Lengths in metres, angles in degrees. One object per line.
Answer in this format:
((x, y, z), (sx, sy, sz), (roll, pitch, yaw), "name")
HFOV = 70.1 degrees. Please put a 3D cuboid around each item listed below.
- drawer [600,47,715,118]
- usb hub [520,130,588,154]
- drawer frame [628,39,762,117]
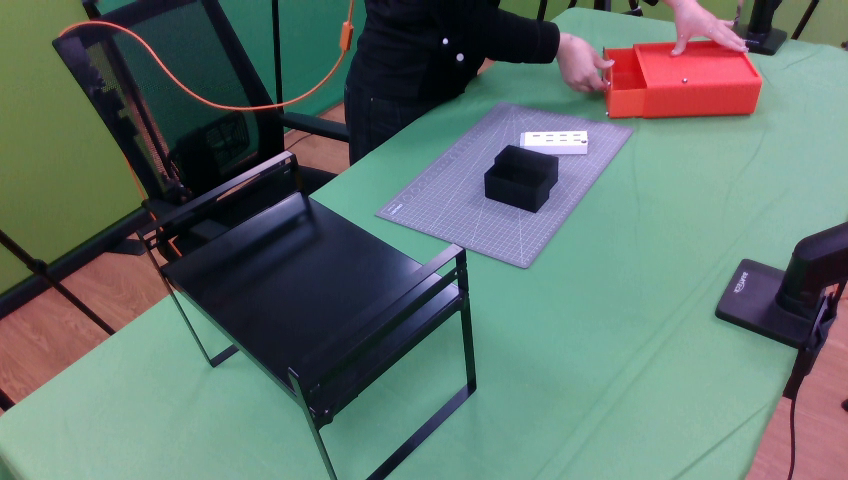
((0.478, -0.328, 1.247), (0.211, 0.073, 0.194), (2, 41, 7), "drawer")
((0.247, -0.185, 1.147), (0.125, 0.025, 0.049), (1, 43, 10), "usb hub")
((0.540, -0.332, 1.234), (0.213, 0.083, 0.201), (0, 41, 7), "drawer frame")
